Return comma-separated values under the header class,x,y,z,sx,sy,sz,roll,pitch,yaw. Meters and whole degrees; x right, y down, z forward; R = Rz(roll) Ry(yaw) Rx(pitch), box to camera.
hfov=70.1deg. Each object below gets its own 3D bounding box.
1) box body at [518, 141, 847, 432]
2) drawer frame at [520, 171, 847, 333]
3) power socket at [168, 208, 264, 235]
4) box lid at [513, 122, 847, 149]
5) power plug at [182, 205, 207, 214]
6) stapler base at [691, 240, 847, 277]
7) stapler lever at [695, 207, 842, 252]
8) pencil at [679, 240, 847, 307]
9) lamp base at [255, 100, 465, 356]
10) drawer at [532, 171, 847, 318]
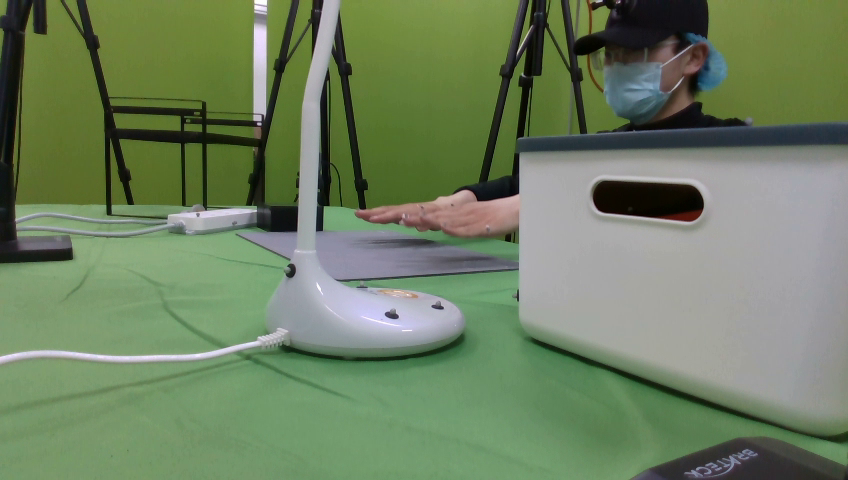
class,x,y,z,sx,sy,sz,roll,pitch,yaw
box body,0.278,0.005,0.486,0.366,0.160,0.253,-3,9,-36
drawer frame,0.223,0.004,0.466,0.215,0.082,0.200,-11,2,-36
power socket,-0.381,-0.038,1.129,0.072,0.032,0.227,4,8,17
box lid,0.282,-0.068,0.478,0.374,0.015,0.262,-3,9,-36
power plug,-0.456,-0.041,1.195,0.052,0.035,0.072,0,39,24
stapler base,0.271,0.014,0.486,0.041,0.024,0.130,-14,3,-19
stapler lever,0.267,-0.010,0.484,0.027,0.040,0.117,-14,2,-19
pencil,0.249,0.019,0.463,0.012,0.012,0.193,1,11,-8
lamp base,-0.051,-0.014,0.466,0.160,0.180,0.180,7,11,34
drawer,0.226,0.004,0.467,0.213,0.073,0.193,-13,2,-35
